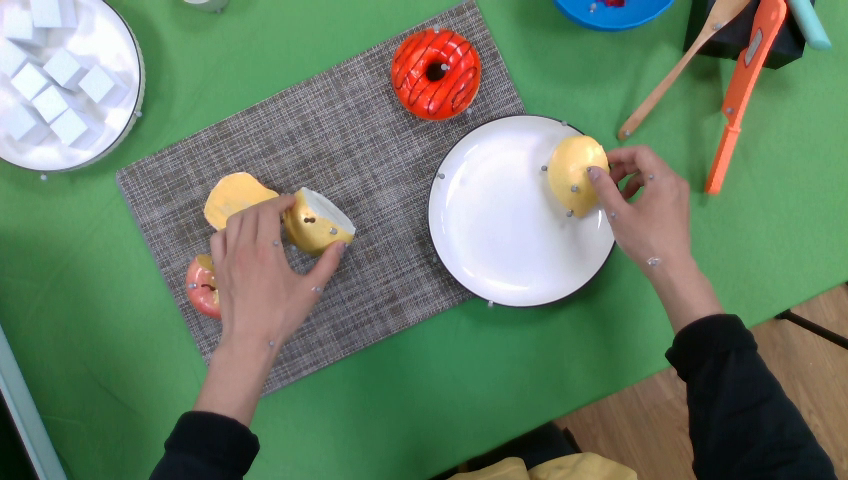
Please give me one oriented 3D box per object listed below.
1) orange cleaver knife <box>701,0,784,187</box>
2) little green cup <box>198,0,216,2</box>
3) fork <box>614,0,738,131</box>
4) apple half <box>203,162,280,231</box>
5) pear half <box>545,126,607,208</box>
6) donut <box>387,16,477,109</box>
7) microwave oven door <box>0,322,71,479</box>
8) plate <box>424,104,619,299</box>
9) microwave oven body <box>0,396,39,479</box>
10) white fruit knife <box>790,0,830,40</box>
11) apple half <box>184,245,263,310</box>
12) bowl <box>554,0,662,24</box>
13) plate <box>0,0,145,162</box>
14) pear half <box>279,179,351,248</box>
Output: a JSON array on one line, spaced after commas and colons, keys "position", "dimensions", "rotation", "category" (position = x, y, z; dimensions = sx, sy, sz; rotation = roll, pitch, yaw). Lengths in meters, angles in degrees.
[{"position": [0.326, -0.161, 0.632], "dimensions": [0.012, 0.077, 0.212], "rotation": [11, 118, 6], "category": "orange cleaver knife"}, {"position": [-0.245, -0.293, 0.662], "dimensions": [0.061, 0.038, 0.061], "rotation": [0, 92, 2], "category": "little green cup"}, {"position": [0.268, -0.199, 0.629], "dimensions": [0.028, 0.018, 0.208], "rotation": [32, 113, -8], "category": "fork"}, {"position": [-0.201, -0.041, 0.667], "dimensions": [0.081, 0.033, 0.080], "rotation": [3, 69, -7], "category": "apple half"}, {"position": [0.153, -0.074, 0.636], "dimensions": [0.031, 0.070, 0.088], "rotation": [-15, 113, -41], "category": "pear half"}, {"position": [0.009, -0.190, 0.653], "dimensions": [0.099, 0.048, 0.099], "rotation": [0, 94, 4], "category": "donut"}, {"position": [-0.447, 0.212, 0.568], "dimensions": [0.039, 0.243, 0.356], "rotation": [-23, 91, 2], "category": "microwave oven door"}, {"position": [0.104, -0.041, 0.660], "dimensions": [0.209, 0.038, 0.209], "rotation": [0, 92, 1], "category": "plate"}, {"position": [-0.598, 0.228, 0.578], "dimensions": [0.326, 0.260, 0.442], "rotation": [-23, 92, 2], "category": "microwave oven body"}, {"position": [0.357, -0.295, 0.609], "dimensions": [0.027, 0.016, 0.207], "rotation": [-24, 90, -27], "category": "white fruit knife"}, {"position": [-0.220, 0.047, 0.655], "dimensions": [0.081, 0.074, 0.053], "rotation": [29, 96, -4], "category": "apple half"}, {"position": [0.187, -0.293, 0.632], "dimensions": [0.151, 0.077, 0.151], "rotation": [0, 93, 1], "category": "bowl"}, {"position": [-0.408, -0.189, 0.671], "dimensions": [0.207, 0.039, 0.207], "rotation": [0, 92, 1], "category": "plate"}, {"position": [-0.117, -0.021, 0.613], "dimensions": [0.076, 0.110, 0.056], "rotation": [36, 94, 2], "category": "pear half"}]
